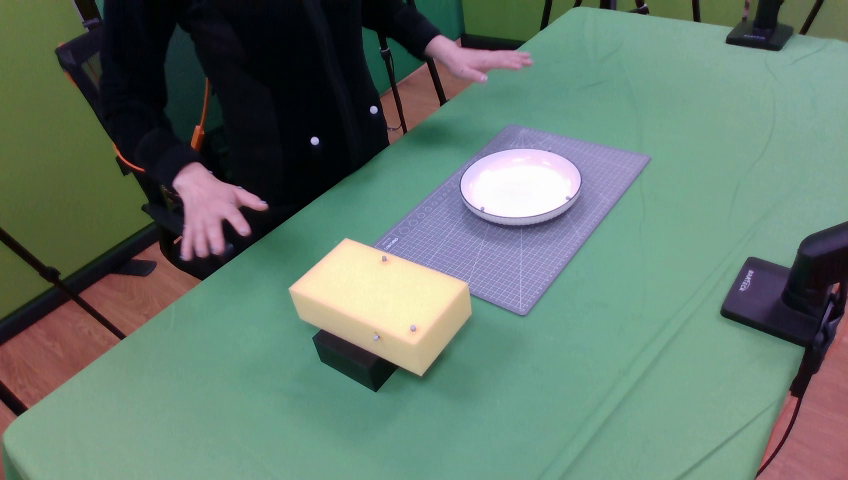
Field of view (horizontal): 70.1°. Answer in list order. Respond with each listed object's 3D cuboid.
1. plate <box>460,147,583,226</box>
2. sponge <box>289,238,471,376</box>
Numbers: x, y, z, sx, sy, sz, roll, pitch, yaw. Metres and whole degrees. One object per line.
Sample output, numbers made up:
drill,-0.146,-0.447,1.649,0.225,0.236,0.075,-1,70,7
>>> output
plate,0.166,-0.089,1.043,0.209,0.038,0.208,-5,40,5
sponge,-0.058,0.081,0.794,0.205,0.061,0.118,19,48,29
